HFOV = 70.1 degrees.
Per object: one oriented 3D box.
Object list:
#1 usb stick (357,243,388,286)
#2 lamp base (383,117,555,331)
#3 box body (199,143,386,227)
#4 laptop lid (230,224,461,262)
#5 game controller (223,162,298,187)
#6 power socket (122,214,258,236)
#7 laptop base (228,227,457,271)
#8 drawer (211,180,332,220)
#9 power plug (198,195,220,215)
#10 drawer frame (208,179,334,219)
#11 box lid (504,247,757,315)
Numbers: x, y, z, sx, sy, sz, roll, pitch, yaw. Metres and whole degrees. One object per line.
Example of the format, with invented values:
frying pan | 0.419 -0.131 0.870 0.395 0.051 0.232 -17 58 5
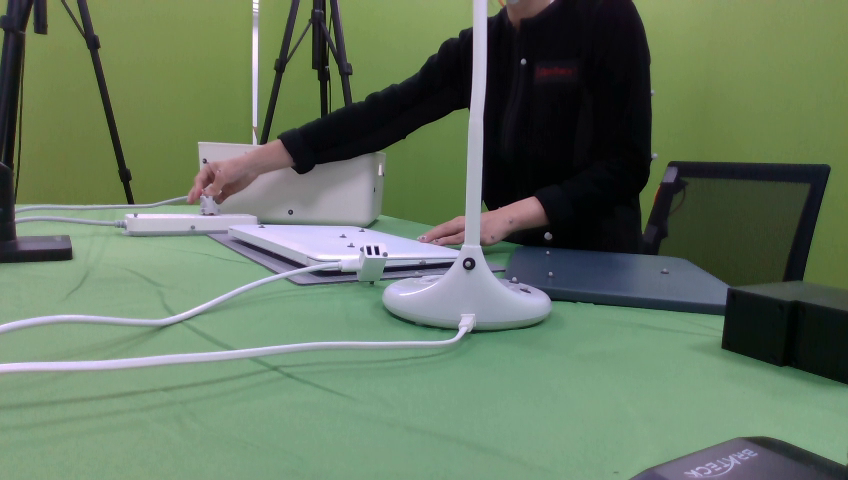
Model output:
usb stick | -0.057 0.029 0.658 0.027 0.059 0.021 -4 53 -18
lamp base | 0.045 -0.019 0.547 0.161 0.180 0.179 2 10 -4
box body | -0.276 -0.124 1.334 0.364 0.160 0.254 3 7 1
laptop lid | -0.120 0.000 0.889 0.243 0.013 0.355 1 7 -33
game controller | -0.357 -0.143 1.322 0.156 0.051 0.097 1 3 -17
power socket | -0.398 -0.028 1.049 0.228 0.032 0.072 -3 8 -34
laptop base | -0.122 0.011 0.889 0.237 0.023 0.352 2 6 -35
drawer | -0.328 -0.094 1.332 0.212 0.073 0.194 5 8 6
power plug | -0.387 -0.055 1.090 0.035 0.052 0.072 -1 6 -22
drawer frame | -0.326 -0.093 1.328 0.213 0.082 0.202 -1 5 6
box lid | 0.244 0.044 0.793 0.263 0.015 0.372 4 7 10
